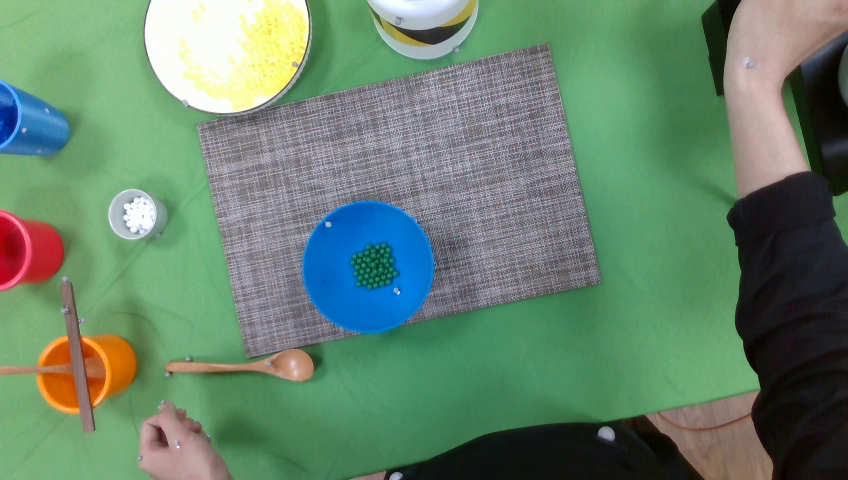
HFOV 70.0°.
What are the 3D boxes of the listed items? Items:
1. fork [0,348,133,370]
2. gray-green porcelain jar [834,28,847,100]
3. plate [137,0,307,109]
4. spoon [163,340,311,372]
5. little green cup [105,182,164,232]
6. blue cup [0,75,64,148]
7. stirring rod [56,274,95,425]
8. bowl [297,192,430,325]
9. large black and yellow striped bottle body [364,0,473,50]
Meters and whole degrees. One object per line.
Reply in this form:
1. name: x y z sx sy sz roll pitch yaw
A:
1. fork: -0.452 0.141 0.703 0.209 0.018 0.028 7 93 -40
2. gray-green porcelain jar: 0.412 -0.158 0.488 0.106 0.126 0.106 0 90 4
3. plate: -0.245 -0.263 0.746 0.209 0.038 0.209 0 91 3
4. spoon: -0.234 0.146 0.755 0.194 0.021 0.042 -2 103 3
5. little green cup: -0.357 -0.040 0.753 0.061 0.038 0.061 0 91 4
6. blue cup: -0.494 -0.150 0.728 0.092 0.100 0.092 0 91 5
7. stirring rod: -0.402 0.126 0.698 0.014 0.006 0.176 -10 90 1
8. bowl: -0.065 0.021 0.714 0.151 0.077 0.151 0 90 3
9. large black and yellow striped bottle body: -0.011 -0.299 0.661 0.131 0.184 0.130 0 90 3
